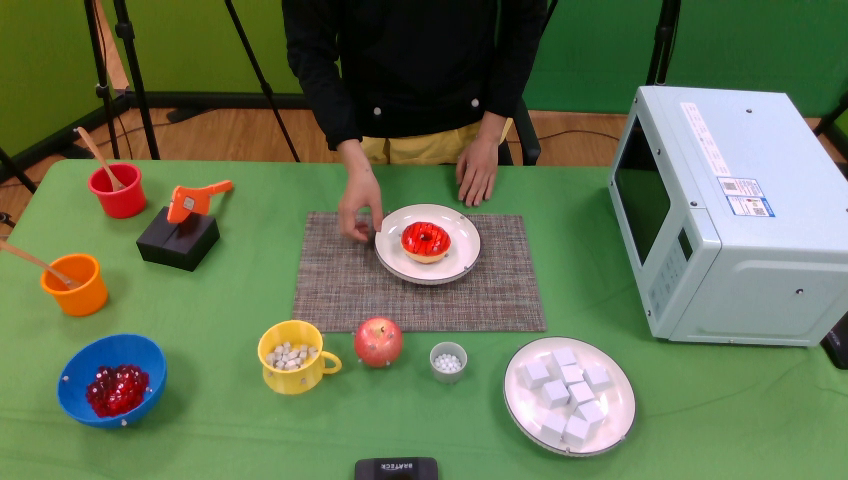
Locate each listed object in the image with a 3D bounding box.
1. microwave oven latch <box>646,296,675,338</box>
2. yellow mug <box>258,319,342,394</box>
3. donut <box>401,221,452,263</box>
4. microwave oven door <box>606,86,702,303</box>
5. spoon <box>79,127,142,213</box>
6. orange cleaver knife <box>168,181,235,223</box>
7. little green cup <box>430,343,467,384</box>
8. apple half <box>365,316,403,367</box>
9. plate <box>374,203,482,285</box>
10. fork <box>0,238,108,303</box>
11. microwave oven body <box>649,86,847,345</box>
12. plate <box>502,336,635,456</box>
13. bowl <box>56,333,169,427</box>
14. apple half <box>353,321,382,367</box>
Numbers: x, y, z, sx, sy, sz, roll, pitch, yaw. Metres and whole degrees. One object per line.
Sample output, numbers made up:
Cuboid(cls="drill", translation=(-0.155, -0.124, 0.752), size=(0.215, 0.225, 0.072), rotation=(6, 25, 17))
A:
Cuboid(cls="microwave oven latch", translation=(0.412, 0.134, 1.061), size=(0.030, 0.029, 0.078), rotation=(4, 45, 1))
Cuboid(cls="yellow mug", translation=(-0.196, 0.189, 0.972), size=(0.131, 0.064, 0.099), rotation=(9, 46, 4))
Cuboid(cls="donut", translation=(0.005, 0.003, 1.163), size=(0.099, 0.048, 0.098), rotation=(3, 44, -3))
Cuboid(cls="microwave oven door", translation=(0.422, -0.094, 1.140), size=(0.039, 0.245, 0.353), rotation=(2, 46, -1))
Cuboid(cls="spoon", translation=(-0.624, -0.139, 1.203), size=(0.041, 0.021, 0.194), rotation=(-33, 100, -26))
Cuboid(cls="orange cleaver knife", translation=(-0.436, -0.078, 1.196), size=(0.012, 0.077, 0.211), rotation=(15, 15, 10))
Cuboid(cls="little green cup", translation=(0.039, 0.203, 0.994), size=(0.061, 0.039, 0.061), rotation=(2, 46, -2))
Cuboid(cls="apple half", translation=(-0.063, 0.165, 1.000), size=(0.053, 0.075, 0.080), rotation=(-16, 45, -24))
Cuboid(cls="plate", translation=(0.007, 0.011, 1.172), size=(0.209, 0.038, 0.208), rotation=(2, 46, -2))
Cuboid(cls="fork", translation=(-0.633, 0.048, 1.017), size=(0.208, 0.018, 0.028), rotation=(40, 41, -27))
Cuboid(cls="microwave oven body", translation=(0.567, -0.053, 1.118), size=(0.326, 0.261, 0.439), rotation=(2, 45, -1))
Cuboid(cls="plate", translation=(0.225, 0.248, 0.963), size=(0.208, 0.039, 0.206), rotation=(2, 46, -2))
Cuboid(cls="bowl", translation=(-0.456, 0.223, 0.911), size=(0.151, 0.077, 0.150), rotation=(3, 46, -2))
Cuboid(cls="apple half", translation=(-0.098, 0.177, 0.984), size=(0.033, 0.081, 0.081), rotation=(-17, 49, -25))
